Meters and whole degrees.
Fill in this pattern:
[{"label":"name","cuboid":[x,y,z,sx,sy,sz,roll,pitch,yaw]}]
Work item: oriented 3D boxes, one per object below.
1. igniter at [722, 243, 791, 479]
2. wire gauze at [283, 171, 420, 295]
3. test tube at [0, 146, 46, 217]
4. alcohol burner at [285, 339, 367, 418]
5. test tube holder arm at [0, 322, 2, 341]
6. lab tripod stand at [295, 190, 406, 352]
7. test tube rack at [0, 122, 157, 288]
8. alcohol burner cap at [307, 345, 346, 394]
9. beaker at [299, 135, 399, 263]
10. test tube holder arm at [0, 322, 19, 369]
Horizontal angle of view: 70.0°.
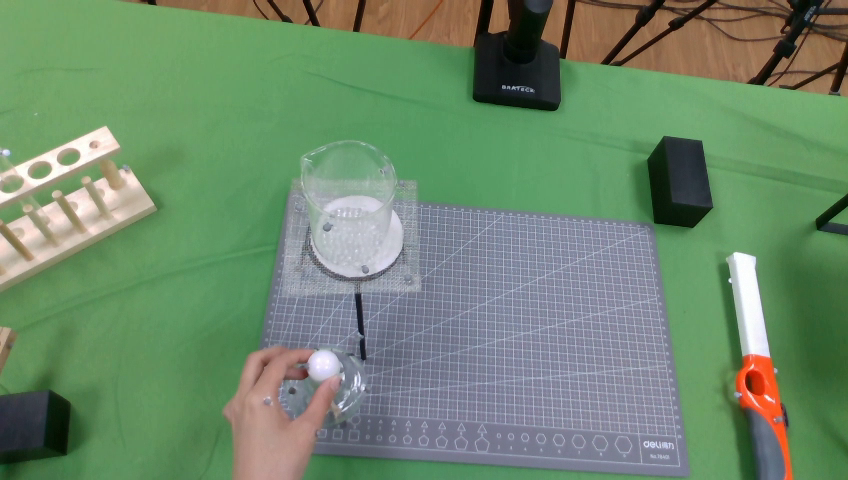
[{"label":"igniter","cuboid":[0.365,0.130,0.670,0.057,0.025,0.274,12,62,-12]},{"label":"wire gauze","cuboid":[-0.066,-0.010,0.557,0.121,0.011,0.124,0,66,-5]},{"label":"test tube","cuboid":[-0.409,-0.067,0.597,0.017,0.151,0.017,4,57,-5]},{"label":"alcohol burner","cuboid":[-0.092,0.125,0.569,0.078,0.120,0.077,4,61,-6]},{"label":"test tube holder arm","cuboid":[-0.398,0.155,0.521,0.013,0.015,0.177,7,61,-3]},{"label":"lab tripod stand","cuboid":[-0.069,0.025,0.613,0.149,0.132,0.147,3,63,-6]},{"label":"test tube rack","cuboid":[-0.417,-0.021,0.627,0.242,0.086,0.066,-33,70,-21]},{"label":"alcohol burner cap","cuboid":[-0.088,0.112,0.536,0.034,0.048,0.033,1,52,-1]},{"label":"beaker","cuboid":[-0.066,-0.031,0.513,0.084,0.101,0.073,28,63,8]},{"label":"test tube holder arm","cuboid":[-0.389,0.117,0.543,0.010,0.015,0.087,8,61,-2]}]
